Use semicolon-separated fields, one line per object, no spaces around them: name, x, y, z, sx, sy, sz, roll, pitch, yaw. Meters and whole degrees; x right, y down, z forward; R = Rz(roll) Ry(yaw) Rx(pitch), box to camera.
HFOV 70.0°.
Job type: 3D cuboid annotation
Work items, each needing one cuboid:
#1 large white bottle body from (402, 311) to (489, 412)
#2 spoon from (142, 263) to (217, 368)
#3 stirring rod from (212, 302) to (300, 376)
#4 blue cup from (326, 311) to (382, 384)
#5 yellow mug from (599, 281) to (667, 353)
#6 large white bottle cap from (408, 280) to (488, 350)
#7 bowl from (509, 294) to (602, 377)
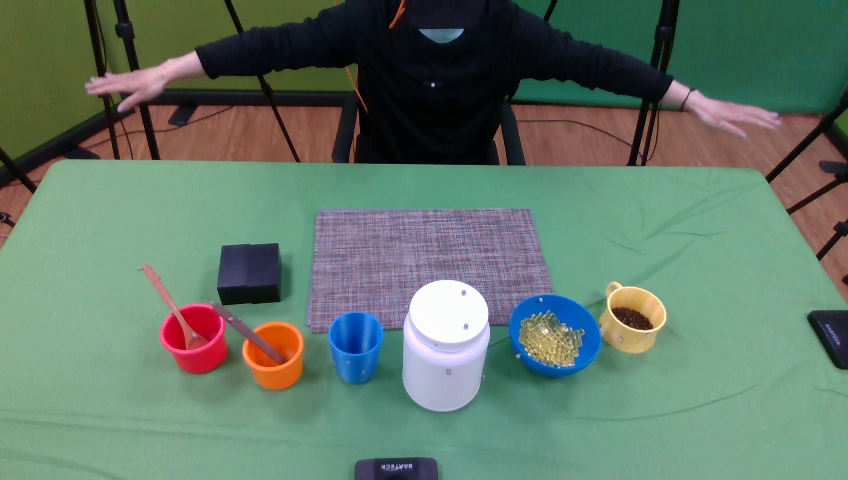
large white bottle body;0.031;0.163;0.928;0.131;0.185;0.130;2;46;-1
spoon;-0.392;0.120;0.968;0.041;0.021;0.194;-33;100;-30
stirring rod;-0.261;0.156;0.948;0.177;0.006;0.014;45;45;-20
blue cup;-0.110;0.177;0.963;0.093;0.101;0.092;3;45;-3
yellow mug;0.359;0.127;1.069;0.100;0.064;0.130;-12;47;-14
large white bottle cap;0.034;0.105;0.867;0.115;0.018;0.114;2;46;-1
bowl;0.211;0.171;1.007;0.151;0.077;0.150;2;46;-2
